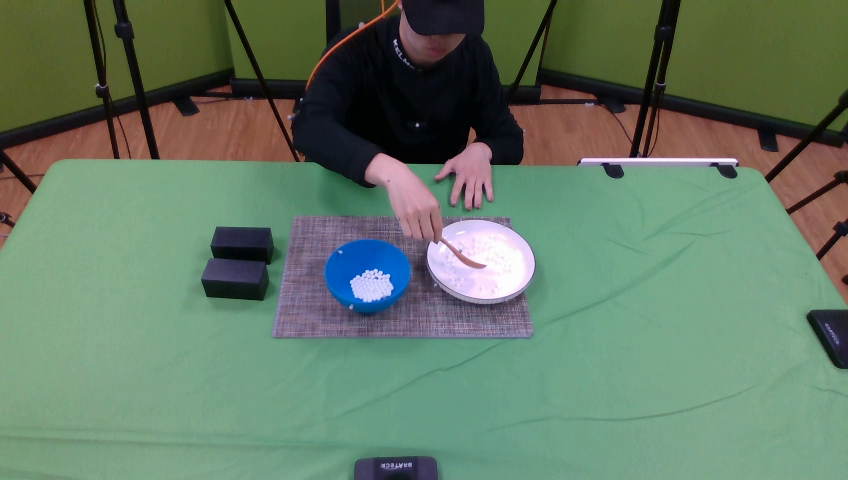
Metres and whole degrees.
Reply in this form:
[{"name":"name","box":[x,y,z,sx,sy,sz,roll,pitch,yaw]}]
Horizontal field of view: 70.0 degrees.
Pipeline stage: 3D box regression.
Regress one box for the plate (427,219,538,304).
[{"name":"plate","box":[0.109,0.044,1.149,0.208,0.039,0.206,2,46,-2]}]

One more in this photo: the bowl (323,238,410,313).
[{"name":"bowl","box":[-0.101,0.077,1.073,0.151,0.077,0.150,2,46,-2]}]

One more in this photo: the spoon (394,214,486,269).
[{"name":"spoon","box":[0.030,0.003,1.097,0.194,0.041,0.021,34,89,-10]}]
